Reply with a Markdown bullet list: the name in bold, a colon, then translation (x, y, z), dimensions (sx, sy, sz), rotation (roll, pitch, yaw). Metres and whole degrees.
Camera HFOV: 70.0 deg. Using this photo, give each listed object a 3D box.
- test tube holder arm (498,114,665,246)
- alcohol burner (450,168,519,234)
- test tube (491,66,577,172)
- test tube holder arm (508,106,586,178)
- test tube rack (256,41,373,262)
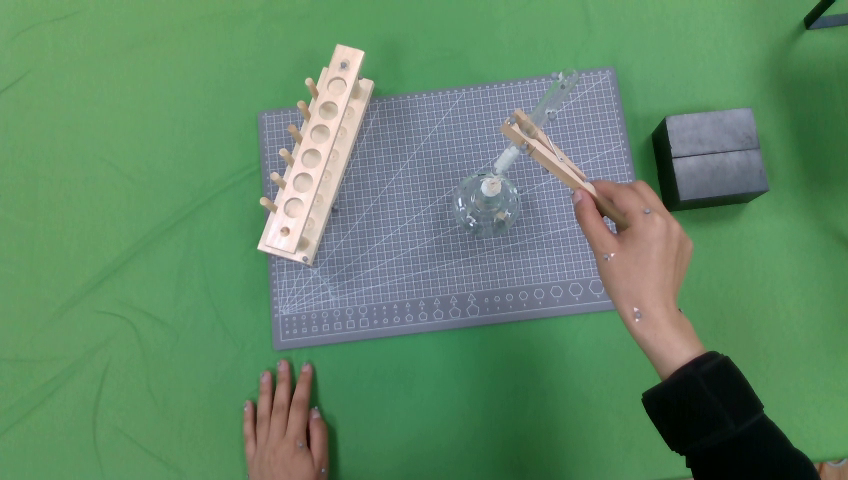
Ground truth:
- **test tube holder arm**: translation (0.140, -0.052, 0.537), dimensions (0.178, 0.015, 0.013), rotation (39, 62, 0)
- **alcohol burner**: translation (0.068, -0.048, 0.672), dimensions (0.078, 0.119, 0.077), rotation (0, 78, 0)
- **test tube**: translation (0.092, -0.100, 0.532), dimensions (0.017, 0.150, 0.017), rotation (6, 66, -14)
- **test tube holder arm**: translation (0.109, -0.085, 0.540), dimensions (0.087, 0.015, 0.010), rotation (46, 61, 4)
- **test tube rack**: translation (-0.133, -0.104, 0.704), dimensions (0.066, 0.085, 0.241), rotation (17, 80, 6)
